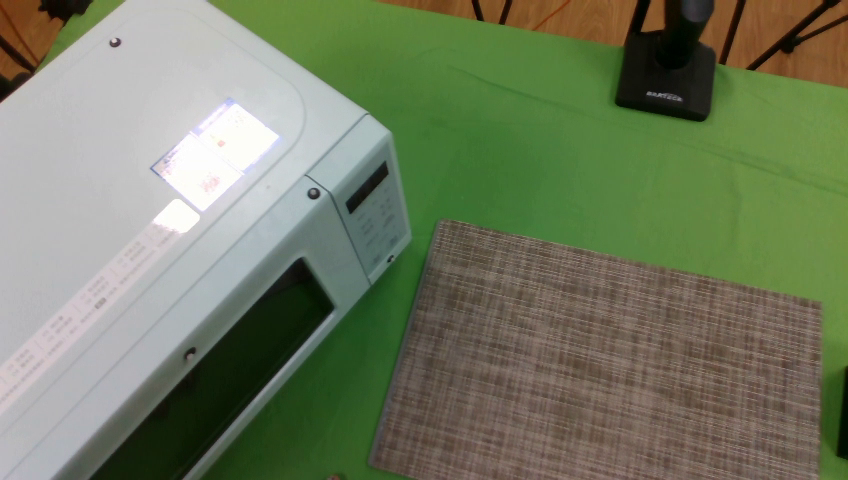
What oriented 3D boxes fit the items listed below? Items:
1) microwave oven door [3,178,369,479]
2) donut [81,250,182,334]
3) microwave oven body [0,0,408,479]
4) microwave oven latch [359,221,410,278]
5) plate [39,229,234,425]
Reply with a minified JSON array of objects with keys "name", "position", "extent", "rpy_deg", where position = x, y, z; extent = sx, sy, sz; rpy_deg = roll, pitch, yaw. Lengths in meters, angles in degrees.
[{"name":"microwave oven door","position":[-0.196,0.124,0.557],"extent":[0.039,0.245,0.355],"rpy_deg":[37,74,17]},{"name":"donut","position":[-0.309,0.055,0.646],"extent":[0.099,0.048,0.098],"rpy_deg":[4,55,-6]},{"name":"microwave oven body","position":[-0.282,0.011,0.613],"extent":[0.324,0.262,0.441],"rpy_deg":[37,75,15]},{"name":"microwave oven latch","position":[-0.049,0.005,0.709],"extent":[0.030,0.030,0.079],"rpy_deg":[38,75,16]},{"name":"plate","position":[-0.289,0.088,0.625],"extent":[0.209,0.038,0.207],"rpy_deg":[-5,63,10]}]
